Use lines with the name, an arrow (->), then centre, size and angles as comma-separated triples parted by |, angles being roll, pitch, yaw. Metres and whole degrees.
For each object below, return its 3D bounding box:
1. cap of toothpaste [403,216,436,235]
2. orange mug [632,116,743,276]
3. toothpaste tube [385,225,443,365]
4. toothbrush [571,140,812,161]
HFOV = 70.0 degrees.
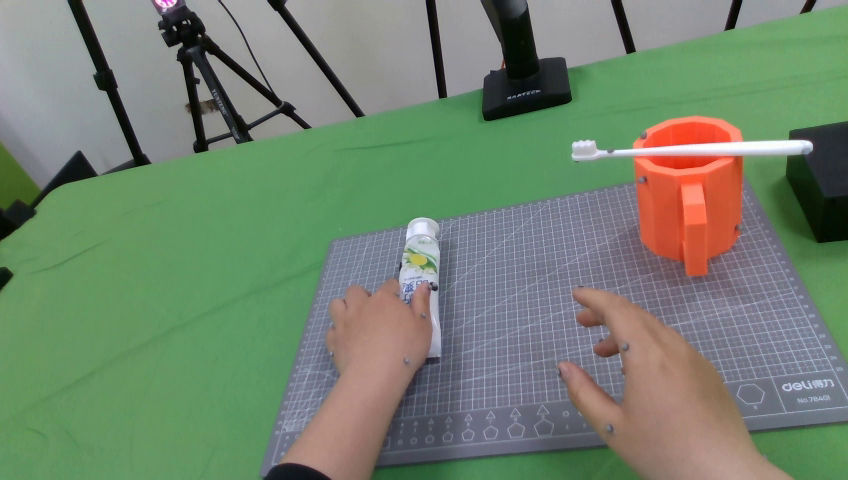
cap of toothpaste -> -0.005, -0.011, 0.644 | 0.037, 0.038, 0.011 | -9, 48, 15
orange mug -> 0.227, -0.034, 0.521 | 0.083, 0.102, 0.125 | -5, 37, 20
toothpaste tube -> -0.009, 0.047, 0.594 | 0.055, 0.035, 0.163 | -16, 45, 18
toothbrush -> 0.209, -0.075, 0.492 | 0.181, 0.017, 0.014 | 3, 37, 28
